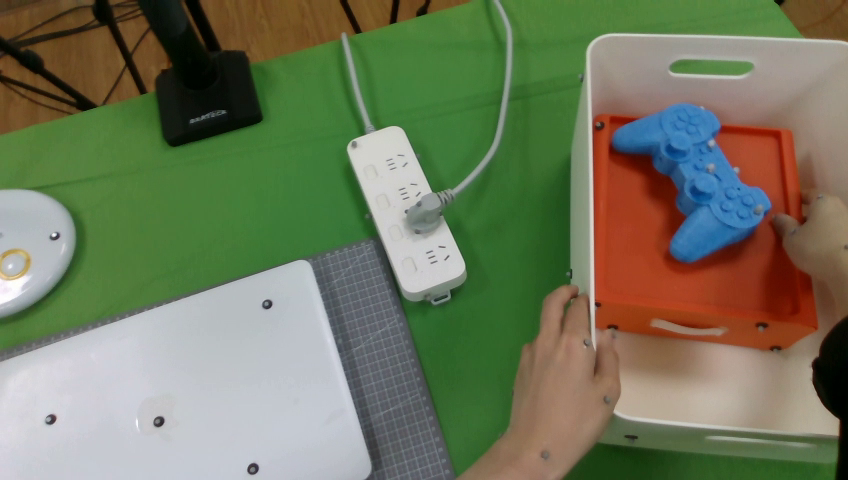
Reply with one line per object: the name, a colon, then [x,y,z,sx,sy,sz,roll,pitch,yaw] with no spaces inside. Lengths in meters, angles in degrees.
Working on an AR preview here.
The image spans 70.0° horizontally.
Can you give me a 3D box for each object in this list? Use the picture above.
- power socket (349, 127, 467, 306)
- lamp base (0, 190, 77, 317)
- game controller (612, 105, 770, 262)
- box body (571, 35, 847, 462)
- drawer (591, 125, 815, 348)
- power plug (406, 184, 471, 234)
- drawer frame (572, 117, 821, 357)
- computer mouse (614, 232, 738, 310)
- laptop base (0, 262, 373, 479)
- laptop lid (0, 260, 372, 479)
power socket: [-0.021,-0.033,0.669,0.072,0.033,0.224,-19,64,-8]
lamp base: [-0.487,-0.026,0.615,0.178,0.182,0.160,27,68,19]
game controller: [0.253,-0.062,0.573,0.097,0.052,0.153,-14,64,-7]
box body: [0.268,0.006,0.557,0.254,0.161,0.361,3,64,6]
drawer: [0.260,-0.008,0.605,0.194,0.074,0.210,6,63,8]
power plug: [0.017,-0.026,0.638,0.072,0.053,0.035,-10,62,-2]
drawer frame: [0.257,-0.009,0.602,0.201,0.083,0.212,7,60,6]
computer mouse: [0.251,0.027,0.604,0.117,0.041,0.062,12,68,14]
laptop base: [-0.248,0.177,0.588,0.354,0.023,0.233,-19,68,-6]
laptop lid: [-0.248,0.174,0.576,0.357,0.013,0.239,-18,66,-5]
